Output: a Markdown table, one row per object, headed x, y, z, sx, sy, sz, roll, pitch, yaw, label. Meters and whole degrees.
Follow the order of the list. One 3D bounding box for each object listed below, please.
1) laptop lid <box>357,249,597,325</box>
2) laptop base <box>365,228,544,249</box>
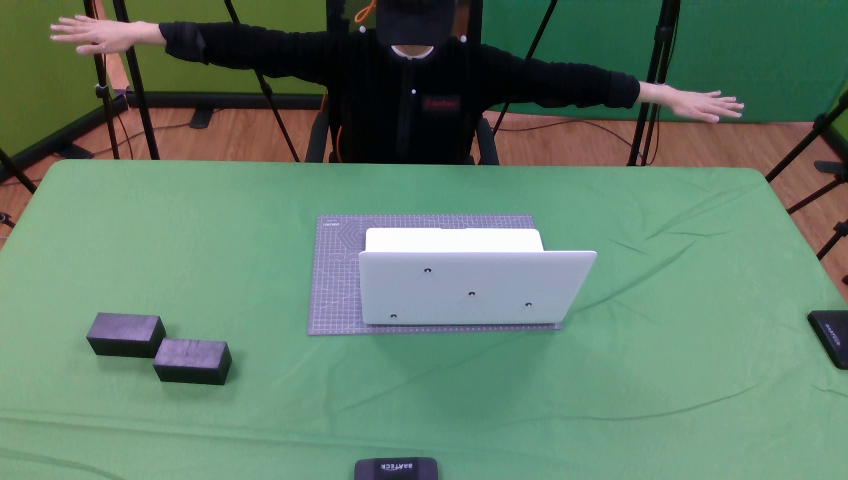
| x | y | z | sx | sy | sz | roll | pitch | yaw | label |
| --- | --- | --- | --- | --- | --- | --- | --- | --- | --- |
| 0.074 | 0.080 | 0.962 | 0.357 | 0.243 | 0.013 | 1 | 56 | -5 | laptop lid |
| 0.064 | 0.063 | 1.143 | 0.355 | 0.023 | 0.234 | 0 | 42 | -4 | laptop base |
